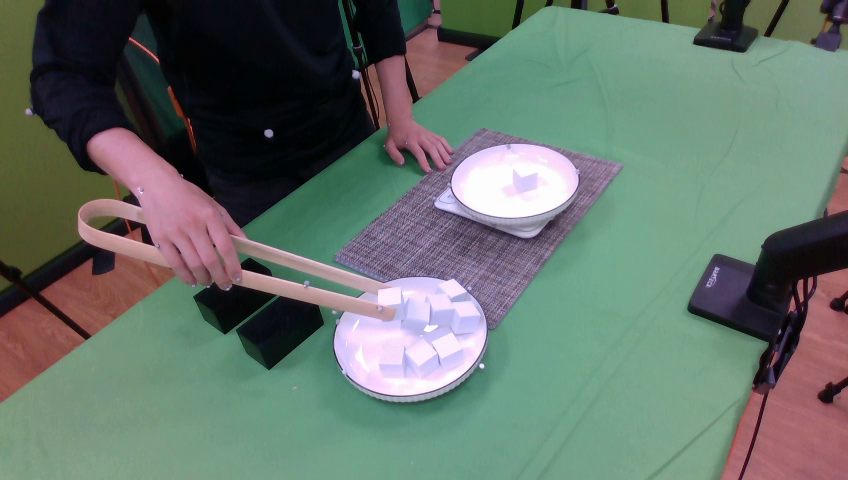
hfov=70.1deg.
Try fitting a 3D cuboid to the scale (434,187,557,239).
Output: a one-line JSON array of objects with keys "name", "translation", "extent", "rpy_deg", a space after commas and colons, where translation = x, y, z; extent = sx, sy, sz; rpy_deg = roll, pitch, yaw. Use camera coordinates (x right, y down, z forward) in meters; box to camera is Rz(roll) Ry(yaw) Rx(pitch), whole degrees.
[{"name": "scale", "translation": [0.132, -0.075, 1.025], "extent": [0.199, 0.032, 0.149], "rpy_deg": [22, 48, 30]}]

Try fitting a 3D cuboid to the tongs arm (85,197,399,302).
[{"name": "tongs arm", "translation": [-0.217, 0.016, 0.755], "extent": [0.389, 0.028, 0.028], "rpy_deg": [18, 45, -10]}]

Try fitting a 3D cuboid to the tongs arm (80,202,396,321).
[{"name": "tongs arm", "translation": [-0.220, 0.031, 0.738], "extent": [0.387, 0.026, 0.050], "rpy_deg": [15, 42, -13]}]

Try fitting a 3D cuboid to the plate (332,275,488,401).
[{"name": "plate", "translation": [-0.017, 0.131, 0.808], "extent": [0.207, 0.039, 0.206], "rpy_deg": [-4, 41, 4]}]

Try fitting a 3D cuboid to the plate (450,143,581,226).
[{"name": "plate", "translation": [0.148, -0.087, 0.986], "extent": [0.209, 0.038, 0.208], "rpy_deg": [-4, 41, 4]}]
